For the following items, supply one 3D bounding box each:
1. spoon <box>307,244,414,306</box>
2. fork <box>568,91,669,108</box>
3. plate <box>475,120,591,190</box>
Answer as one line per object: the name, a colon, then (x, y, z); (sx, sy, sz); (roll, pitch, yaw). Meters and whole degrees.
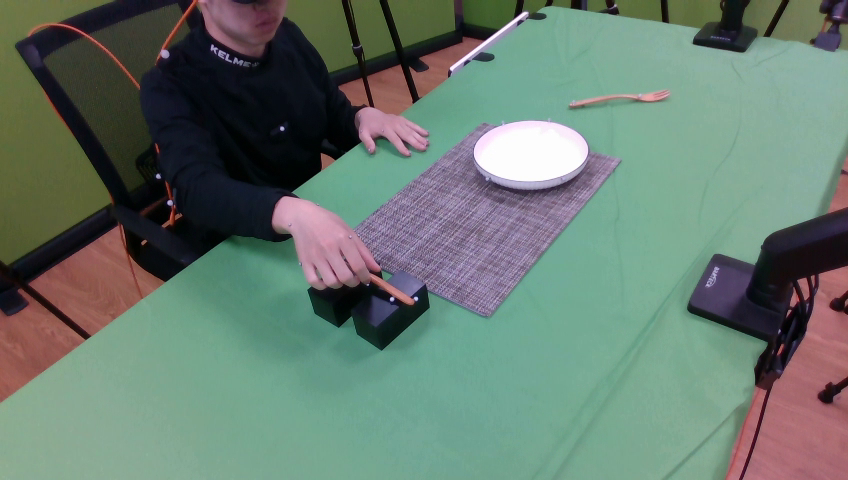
spoon: (-0.091, 0.048, 0.848); (0.192, 0.021, 0.042); (23, 26, 30)
fork: (0.402, -0.290, 1.252); (0.207, 0.019, 0.028); (-4, 47, 1)
plate: (0.196, -0.151, 1.099); (0.207, 0.039, 0.206); (-4, 40, 4)
